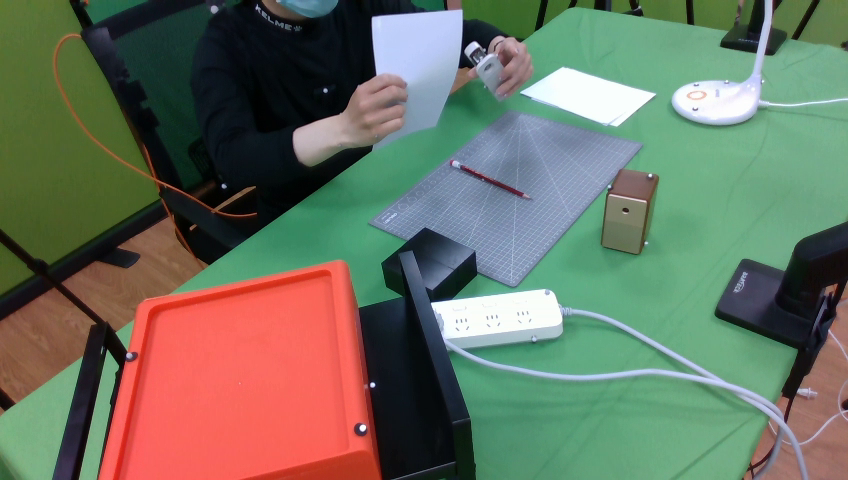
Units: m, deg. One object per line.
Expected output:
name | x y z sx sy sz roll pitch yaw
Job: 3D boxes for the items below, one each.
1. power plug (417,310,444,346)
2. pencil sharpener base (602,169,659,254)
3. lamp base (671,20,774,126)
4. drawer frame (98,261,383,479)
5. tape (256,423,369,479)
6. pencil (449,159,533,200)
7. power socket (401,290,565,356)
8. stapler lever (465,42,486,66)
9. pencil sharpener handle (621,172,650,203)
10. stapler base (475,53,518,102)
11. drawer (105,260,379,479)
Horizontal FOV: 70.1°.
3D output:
power plug | 0.006 0.122 0.785 0.035 0.053 0.072 -1 40 9
pencil sharpener base | 0.312 -0.044 0.913 0.061 0.107 0.077 14 45 24
lamp base | 0.581 -0.332 1.154 0.179 0.181 0.160 2 41 7
drawer frame | -0.149 0.129 0.520 0.202 0.083 0.212 -12 41 -6
tape | -0.121 0.263 0.660 0.117 0.053 0.116 -4 40 4
pencil | 0.117 -0.109 1.091 0.192 0.012 0.012 31 53 34
power socket | 0.080 0.112 0.822 0.227 0.033 0.072 -6 41 0
stapler lever | 0.107 -0.299 1.045 0.027 0.119 0.040 -39 62 14
pencil sharpener handle | 0.328 -0.087 0.940 0.036 0.068 0.030 30 49 7
stapler base | 0.120 -0.281 1.033 0.041 0.131 0.024 -39 62 13
drawer | -0.150 0.127 0.525 0.195 0.073 0.210 -11 41 -5
